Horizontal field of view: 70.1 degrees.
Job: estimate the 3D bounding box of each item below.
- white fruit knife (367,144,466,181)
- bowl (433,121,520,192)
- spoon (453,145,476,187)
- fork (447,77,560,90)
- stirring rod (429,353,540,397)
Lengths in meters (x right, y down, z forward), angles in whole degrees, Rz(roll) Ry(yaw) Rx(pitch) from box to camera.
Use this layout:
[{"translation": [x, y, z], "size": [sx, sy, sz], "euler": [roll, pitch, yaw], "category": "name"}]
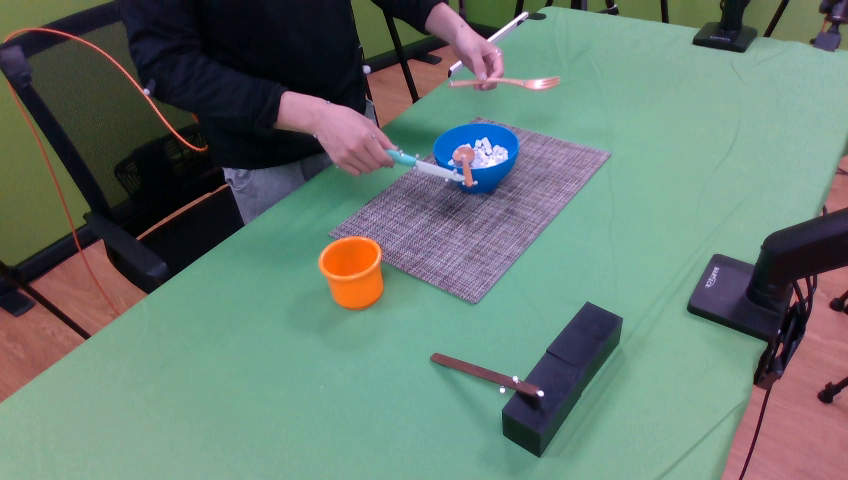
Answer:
[{"translation": [-0.015, -0.119, 0.923], "size": [0.205, 0.027, 0.016], "euler": [21, 64, 37], "category": "white fruit knife"}, {"translation": [0.093, -0.137, 1.064], "size": [0.151, 0.077, 0.150], "euler": [-4, 41, 4], "category": "bowl"}, {"translation": [0.069, -0.125, 1.000], "size": [0.041, 0.022, 0.193], "euler": [-9, 21, 6], "category": "spoon"}, {"translation": [0.140, -0.283, 1.090], "size": [0.206, 0.019, 0.028], "euler": [5, 54, 16], "category": "fork"}, {"translation": [0.069, 0.162, 0.737], "size": [0.174, 0.006, 0.014], "euler": [8, 42, 47], "category": "stirring rod"}]
